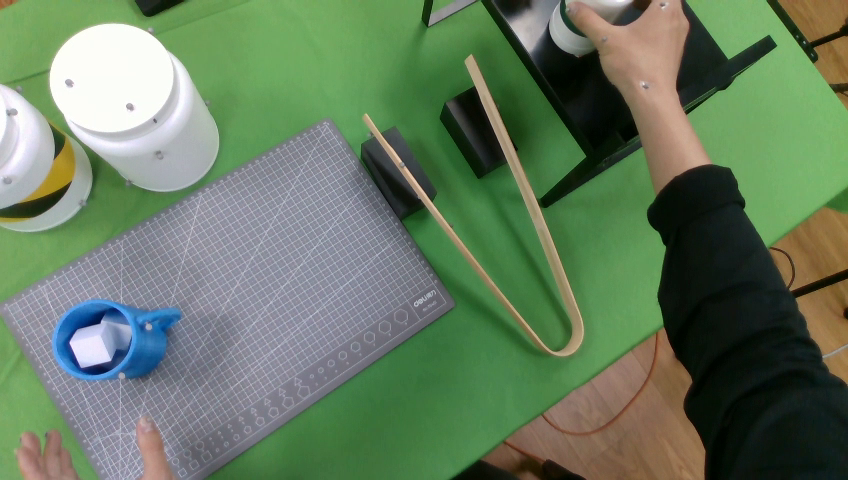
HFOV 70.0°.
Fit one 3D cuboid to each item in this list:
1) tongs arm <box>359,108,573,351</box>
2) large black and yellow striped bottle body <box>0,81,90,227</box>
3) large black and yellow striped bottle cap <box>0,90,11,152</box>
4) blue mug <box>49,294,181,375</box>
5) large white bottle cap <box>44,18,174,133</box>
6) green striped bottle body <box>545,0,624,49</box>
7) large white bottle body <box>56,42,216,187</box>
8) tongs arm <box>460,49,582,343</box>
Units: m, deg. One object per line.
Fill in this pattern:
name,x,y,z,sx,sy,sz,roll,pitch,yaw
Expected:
tongs arm,0.055,-0.010,0.738,0.051,0.026,0.386,-38,98,-14
large black and yellow striped bottle body,-0.460,-0.094,0.644,0.131,0.184,0.130,1,79,-7
large black and yellow striped bottle cap,-0.451,-0.112,0.563,0.115,0.019,0.114,2,80,-9
blue mug,-0.326,0.098,0.665,0.116,0.106,0.082,-25,83,-12
large white bottle cap,-0.305,-0.161,0.590,0.115,0.018,0.114,2,79,-8
green striped bottle body,0.167,-0.247,0.604,0.063,0.119,0.063,1,79,-6
large white bottle body,-0.315,-0.144,0.672,0.131,0.185,0.130,1,79,-7
tongs arm,0.122,-0.053,0.757,0.028,0.027,0.388,-25,96,-19
